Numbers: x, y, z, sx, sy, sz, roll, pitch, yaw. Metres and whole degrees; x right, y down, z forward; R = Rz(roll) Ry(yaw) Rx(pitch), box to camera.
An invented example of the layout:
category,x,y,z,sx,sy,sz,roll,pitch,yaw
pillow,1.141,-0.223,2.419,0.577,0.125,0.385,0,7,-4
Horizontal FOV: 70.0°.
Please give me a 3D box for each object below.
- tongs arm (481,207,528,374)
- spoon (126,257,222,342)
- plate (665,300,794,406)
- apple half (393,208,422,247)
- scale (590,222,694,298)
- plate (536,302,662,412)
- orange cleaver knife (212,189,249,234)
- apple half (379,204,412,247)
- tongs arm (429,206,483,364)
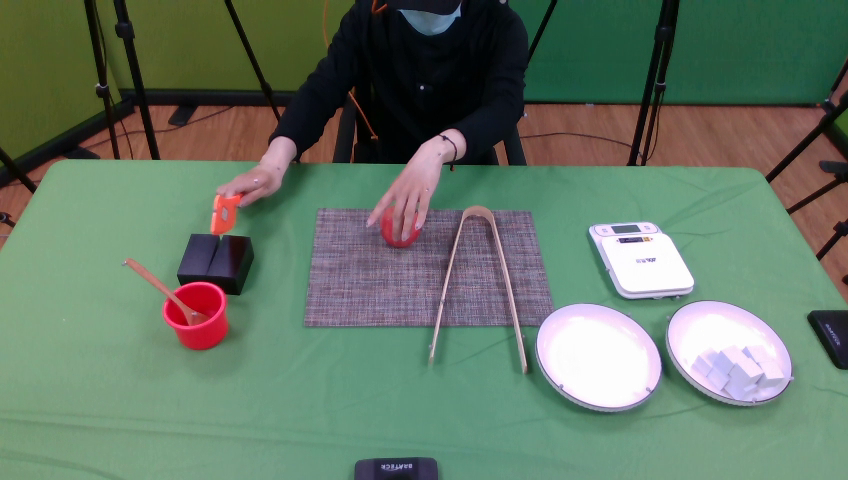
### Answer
category,x,y,z,sx,sy,sz,roll,pitch,yaw
tongs arm,0.149,0.078,1.124,0.028,0.028,0.385,-4,46,-2
spoon,-0.408,0.096,0.990,0.194,0.021,0.041,50,53,-18
plate,0.513,0.194,1.034,0.208,0.039,0.206,2,46,-2
apple half,-0.025,-0.017,1.169,0.032,0.082,0.081,26,50,25
scale,0.424,0.031,1.189,0.149,0.032,0.199,-3,46,-7
plate,0.288,0.197,1.016,0.209,0.038,0.208,2,46,-2
orange cleaver knife,-0.358,-0.056,1.126,0.012,0.077,0.211,6,10,-3
apple half,-0.058,-0.033,1.184,0.053,0.075,0.080,26,53,25
tongs arm,0.064,0.069,1.124,0.051,0.026,0.382,8,45,5
